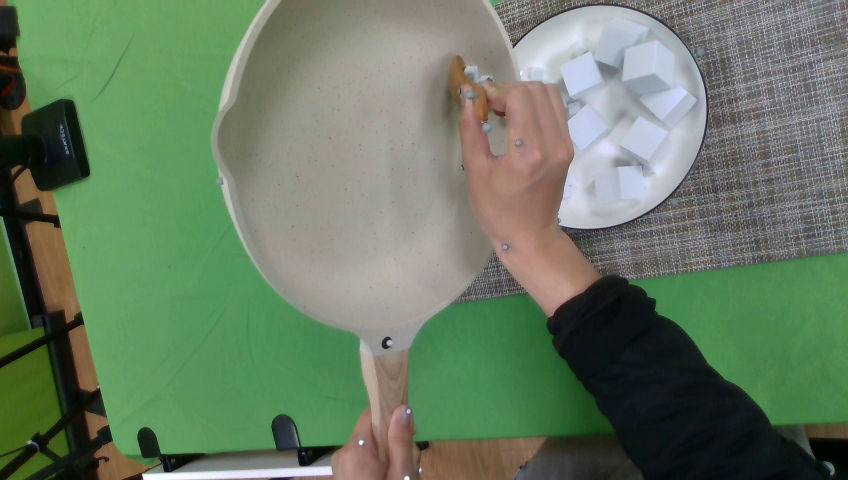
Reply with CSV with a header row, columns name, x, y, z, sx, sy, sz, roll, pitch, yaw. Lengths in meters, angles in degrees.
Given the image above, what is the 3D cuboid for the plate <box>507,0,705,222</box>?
name,x,y,z,sx,sy,sz,roll,pitch,yaw
plate,0.156,-0.122,0.581,0.206,0.039,0.208,4,100,24

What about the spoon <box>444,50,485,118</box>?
name,x,y,z,sx,sy,sz,roll,pitch,yaw
spoon,0.033,-0.120,0.466,0.021,0.192,0.042,-8,112,-2

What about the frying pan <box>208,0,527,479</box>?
name,x,y,z,sx,sy,sz,roll,pitch,yaw
frying pan,-0.035,0.027,0.495,0.102,0.308,0.488,4,97,48
